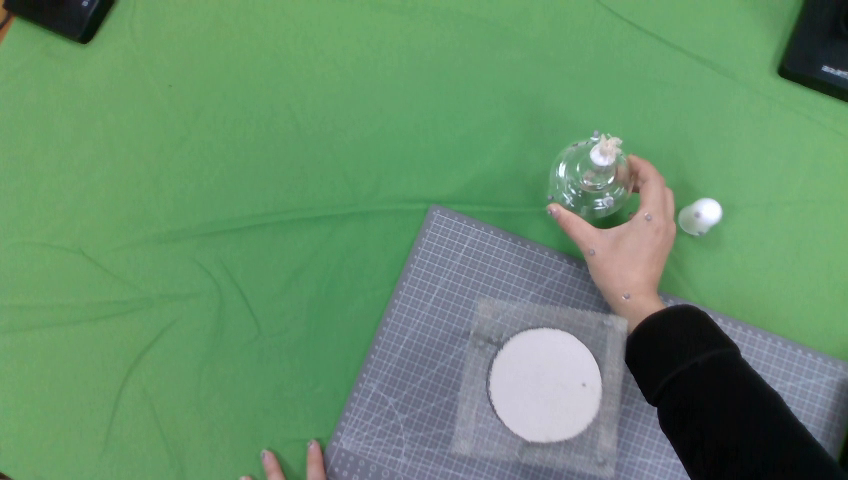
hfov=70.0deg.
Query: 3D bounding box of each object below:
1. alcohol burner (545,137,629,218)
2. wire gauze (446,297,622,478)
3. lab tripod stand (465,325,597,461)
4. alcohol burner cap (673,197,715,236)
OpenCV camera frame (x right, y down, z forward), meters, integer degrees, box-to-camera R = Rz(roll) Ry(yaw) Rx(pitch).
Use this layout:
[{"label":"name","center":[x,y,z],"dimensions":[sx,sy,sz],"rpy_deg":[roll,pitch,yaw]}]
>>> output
[{"label":"alcohol burner","center":[0.151,-0.062,0.552],"dimensions":[0.078,0.120,0.077],"rpy_deg":[-1,75,5]},{"label":"wire gauze","center":[0.086,0.111,0.464],"dimensions":[0.121,0.011,0.124],"rpy_deg":[9,81,3]},{"label":"lab tripod stand","center":[0.092,0.128,0.528],"dimensions":[0.148,0.132,0.148],"rpy_deg":[0,80,1]},{"label":"alcohol burner cap","center":[0.271,-0.025,0.601],"dimensions":[0.034,0.048,0.033],"rpy_deg":[-1,77,6]}]
